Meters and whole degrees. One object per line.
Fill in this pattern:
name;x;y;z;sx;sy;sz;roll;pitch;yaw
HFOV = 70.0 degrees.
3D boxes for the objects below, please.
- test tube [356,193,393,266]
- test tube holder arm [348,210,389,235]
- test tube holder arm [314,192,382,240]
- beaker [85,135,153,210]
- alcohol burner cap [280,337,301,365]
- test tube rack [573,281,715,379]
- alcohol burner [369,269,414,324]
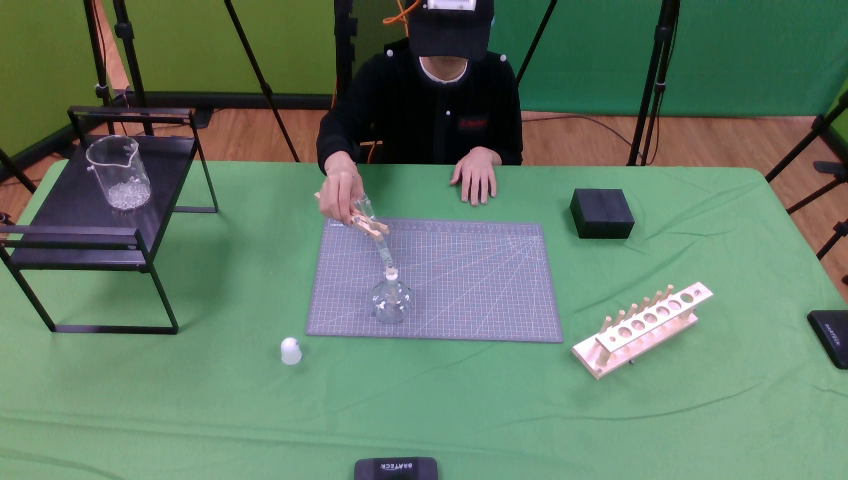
test tube;-0.074;-0.012;0.938;0.017;0.151;0.017;-10;43;10
test tube holder arm;-0.090;-0.028;0.949;0.087;0.015;0.010;21;54;34
test tube holder arm;-0.126;-0.041;0.974;0.013;0.015;0.177;-39;47;-24
beaker;-0.475;-0.102;0.957;0.083;0.101;0.074;34;53;26
alcohol burner cap;-0.220;0.179;0.993;0.034;0.048;0.033;2;46;-2
test tube rack;0.378;0.140;1.038;0.242;0.085;0.066;-22;51;-23
alcohol burner;-0.056;0.089;1.036;0.078;0.120;0.077;1;48;-1
